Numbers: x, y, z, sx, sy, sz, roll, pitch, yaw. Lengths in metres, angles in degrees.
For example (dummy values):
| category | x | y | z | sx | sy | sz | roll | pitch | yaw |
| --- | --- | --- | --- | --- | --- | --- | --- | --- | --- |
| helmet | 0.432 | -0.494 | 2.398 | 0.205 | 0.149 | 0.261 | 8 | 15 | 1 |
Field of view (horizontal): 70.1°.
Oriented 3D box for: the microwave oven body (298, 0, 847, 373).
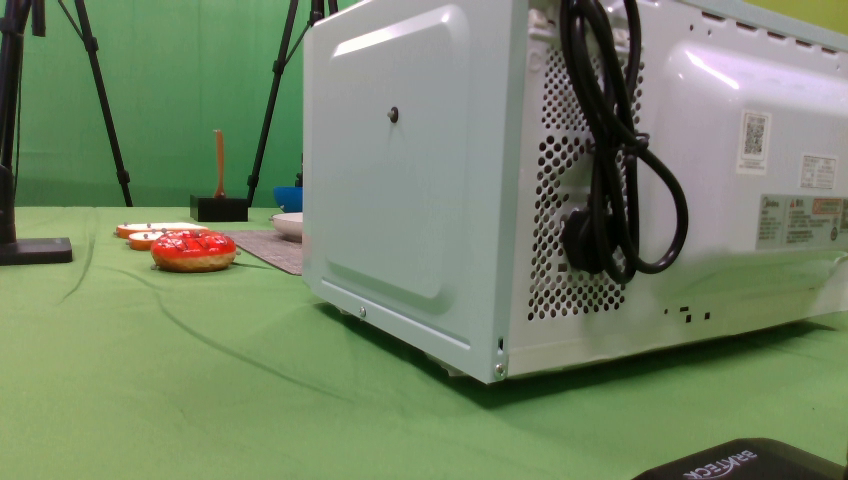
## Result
| category | x | y | z | sx | sy | sz | roll | pitch | yaw |
| --- | --- | --- | --- | --- | --- | --- | --- | --- | --- |
| microwave oven body | 0.151 | -0.055 | 0.542 | 0.444 | 0.260 | 0.324 | -1 | 8 | -33 |

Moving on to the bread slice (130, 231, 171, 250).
| category | x | y | z | sx | sy | sz | roll | pitch | yaw |
| --- | --- | --- | --- | --- | --- | --- | --- | --- | --- |
| bread slice | -0.370 | 0.001 | 0.916 | 0.135 | 0.018 | 0.106 | -1 | 7 | -32 |

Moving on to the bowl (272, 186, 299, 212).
| category | x | y | z | sx | sy | sz | roll | pitch | yaw |
| --- | --- | --- | --- | --- | --- | --- | --- | --- | --- |
| bowl | -0.254 | -0.075 | 1.318 | 0.151 | 0.077 | 0.151 | 2 | 7 | 0 |

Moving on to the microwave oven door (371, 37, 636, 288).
| category | x | y | z | sx | sy | sz | roll | pitch | yaw |
| --- | --- | --- | --- | --- | --- | --- | --- | --- | --- |
| microwave oven door | 0.110 | -0.080 | 0.686 | 0.358 | 0.243 | 0.039 | -2 | 9 | -33 |

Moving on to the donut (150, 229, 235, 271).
| category | x | y | z | sx | sy | sz | roll | pitch | yaw |
| --- | --- | --- | --- | --- | --- | --- | --- | --- | --- |
| donut | -0.285 | 0.013 | 0.747 | 0.099 | 0.048 | 0.099 | 3 | 10 | 0 |

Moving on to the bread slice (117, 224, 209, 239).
| category | x | y | z | sx | sy | sz | roll | pitch | yaw |
| --- | --- | --- | --- | --- | --- | --- | --- | --- | --- |
| bread slice | -0.443 | -0.015 | 1.023 | 0.104 | 0.019 | 0.132 | 9 | 9 | 44 |

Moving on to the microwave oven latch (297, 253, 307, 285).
| category | x | y | z | sx | sy | sz | roll | pitch | yaw |
| --- | --- | --- | --- | --- | --- | --- | --- | --- | --- |
| microwave oven latch | -0.081 | 0.027 | 0.582 | 0.079 | 0.029 | 0.030 | -1 | 7 | -32 |

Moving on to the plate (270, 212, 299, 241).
| category | x | y | z | sx | sy | sz | roll | pitch | yaw |
| --- | --- | --- | --- | --- | --- | --- | --- | --- | --- |
| plate | -0.162 | -0.022 | 1.058 | 0.208 | 0.039 | 0.207 | 2 | 7 | 0 |

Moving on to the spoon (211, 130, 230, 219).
| category | x | y | z | sx | sy | sz | roll | pitch | yaw |
| --- | --- | --- | --- | --- | --- | --- | --- | --- | --- |
| spoon | -0.436 | -0.138 | 1.296 | 0.042 | 0.193 | 0.021 | -4 | 23 | -28 |
